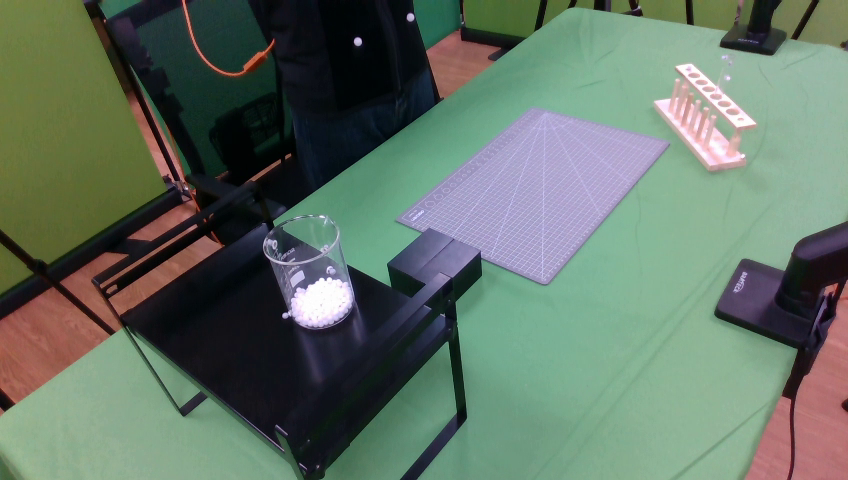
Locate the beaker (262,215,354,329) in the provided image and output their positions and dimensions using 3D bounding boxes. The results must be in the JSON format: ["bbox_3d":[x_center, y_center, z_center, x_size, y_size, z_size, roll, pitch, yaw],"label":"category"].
[{"bbox_3d":[-0.112,0.034,0.616,0.073,0.101,0.084,13,44,23],"label":"beaker"}]

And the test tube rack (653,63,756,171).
[{"bbox_3d":[0.510,-0.233,1.120,0.067,0.085,0.241,-9,41,-1],"label":"test tube rack"}]

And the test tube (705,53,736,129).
[{"bbox_3d":[0.525,-0.260,1.074,0.017,0.151,0.017,-2,44,3],"label":"test tube"}]
